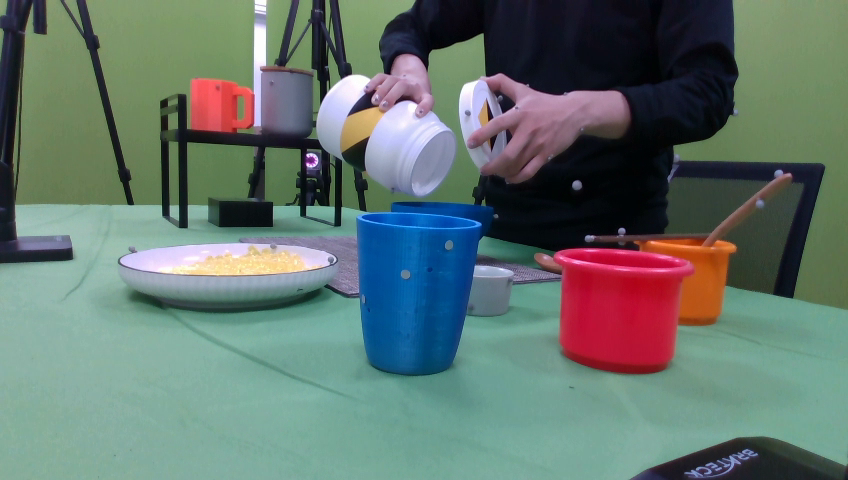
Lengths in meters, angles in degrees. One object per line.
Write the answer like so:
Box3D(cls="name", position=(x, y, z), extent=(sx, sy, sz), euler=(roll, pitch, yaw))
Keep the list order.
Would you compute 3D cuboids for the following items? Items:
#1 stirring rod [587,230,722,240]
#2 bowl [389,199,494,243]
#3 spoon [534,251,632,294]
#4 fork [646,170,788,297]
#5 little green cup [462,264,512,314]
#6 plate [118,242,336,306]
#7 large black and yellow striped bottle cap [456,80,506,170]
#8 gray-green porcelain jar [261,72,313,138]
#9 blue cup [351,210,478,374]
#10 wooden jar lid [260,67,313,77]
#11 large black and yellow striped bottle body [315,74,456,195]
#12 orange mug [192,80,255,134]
Box3D(cls="stirring rod", position=(0.227, -0.005, 0.585), extent=(0.177, 0.006, 0.014), euler=(-2, 7, -28))
Box3D(cls="bowl", position=(0.024, -0.015, 0.872), extent=(0.151, 0.077, 0.151), euler=(3, 7, 0))
Box3D(cls="spoon", position=(0.193, 0.038, 0.753), extent=(0.042, 0.021, 0.193), euler=(14, 2, -21))
Box3D(cls="fork", position=(0.256, 0.004, 0.543), extent=(0.028, 0.018, 0.207), euler=(3, -37, -10))
Box3D(cls="little green cup", position=(0.053, 0.047, 0.579), extent=(0.061, 0.038, 0.061), euler=(3, 8, 0))
Box3D(cls="plate", position=(-0.194, 0.033, 0.615), extent=(0.209, 0.038, 0.209), euler=(2, 7, 0))
Box3D(cls="large black and yellow striped bottle cap", position=(0.075, -0.147, 0.773), extent=(0.018, 0.115, 0.115), euler=(-10, 1, 29))
Box3D(cls="gray-green porcelain jar", position=(-0.284, -0.276, 1.253), extent=(0.106, 0.126, 0.106), euler=(2, 8, 0))
Box3D(cls="blue cup", position=(-0.009, 0.034, 0.414), extent=(0.093, 0.100, 0.092), euler=(4, 8, 0))
Box3D(cls="wooden jar lid", position=(-0.283, -0.339, 1.244), extent=(0.108, 0.020, 0.108), euler=(5, 9, 0))
Box3D(cls="large black and yellow striped bottle body", position=(-0.056, -0.156, 0.905), extent=(0.183, 0.130, 0.131), euler=(32, 21, 25))
Box3D(cls="orange mug", position=(-0.389, -0.257, 1.172), extent=(0.126, 0.100, 0.083), euler=(-1, 7, 9))
